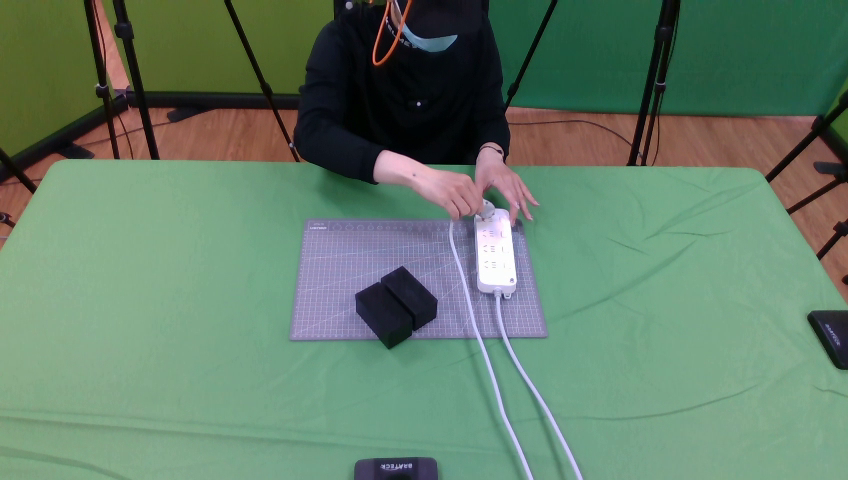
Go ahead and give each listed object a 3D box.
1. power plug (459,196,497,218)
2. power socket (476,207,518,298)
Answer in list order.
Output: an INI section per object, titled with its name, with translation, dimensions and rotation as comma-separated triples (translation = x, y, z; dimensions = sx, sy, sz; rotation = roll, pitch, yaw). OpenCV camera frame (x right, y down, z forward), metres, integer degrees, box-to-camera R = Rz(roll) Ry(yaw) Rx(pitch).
[power plug]
translation = 0.108, -0.067, 1.195
dimensions = 0.072, 0.053, 0.035
rotation = 7, 54, 10
[power socket]
translation = 0.139, 0.014, 1.176
dimensions = 0.072, 0.033, 0.225
rotation = 2, 46, 0
